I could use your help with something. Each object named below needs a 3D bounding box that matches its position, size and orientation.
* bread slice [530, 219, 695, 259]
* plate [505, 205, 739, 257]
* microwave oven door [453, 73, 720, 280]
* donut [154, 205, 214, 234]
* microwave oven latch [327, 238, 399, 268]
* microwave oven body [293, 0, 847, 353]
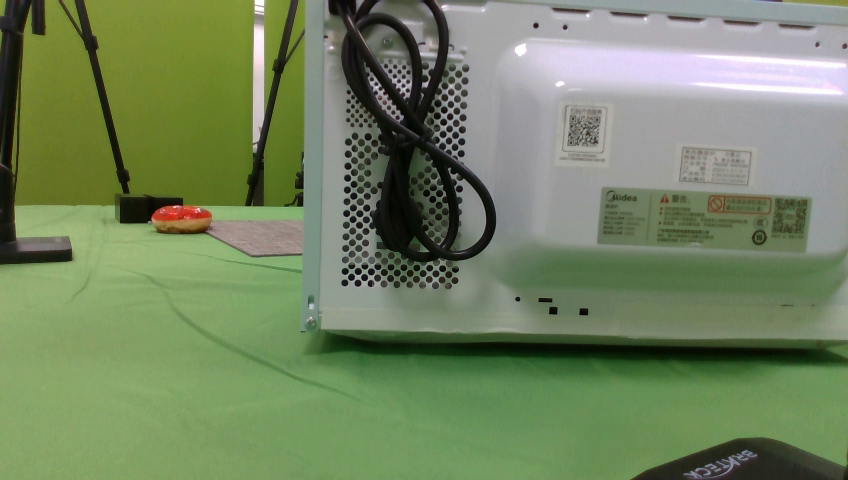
[{"bbox_3d":[0.181,-0.002,0.565,0.105,0.019,0.131,-11,2,-40],"label":"bread slice"},{"bbox_3d":[0.181,-0.011,0.572,0.208,0.039,0.207,-1,5,0],"label":"plate"},{"bbox_3d":[0.196,-0.091,0.816,0.354,0.243,0.039,8,9,39],"label":"microwave oven door"},{"bbox_3d":[-0.426,-0.037,1.075,0.099,0.048,0.099,2,12,0],"label":"donut"},{"bbox_3d":[-0.069,0.015,0.694,0.079,0.029,0.030,3,7,-3],"label":"microwave oven latch"},{"bbox_3d":[0.122,-0.055,0.550,0.442,0.260,0.325,3,7,-5],"label":"microwave oven body"}]
